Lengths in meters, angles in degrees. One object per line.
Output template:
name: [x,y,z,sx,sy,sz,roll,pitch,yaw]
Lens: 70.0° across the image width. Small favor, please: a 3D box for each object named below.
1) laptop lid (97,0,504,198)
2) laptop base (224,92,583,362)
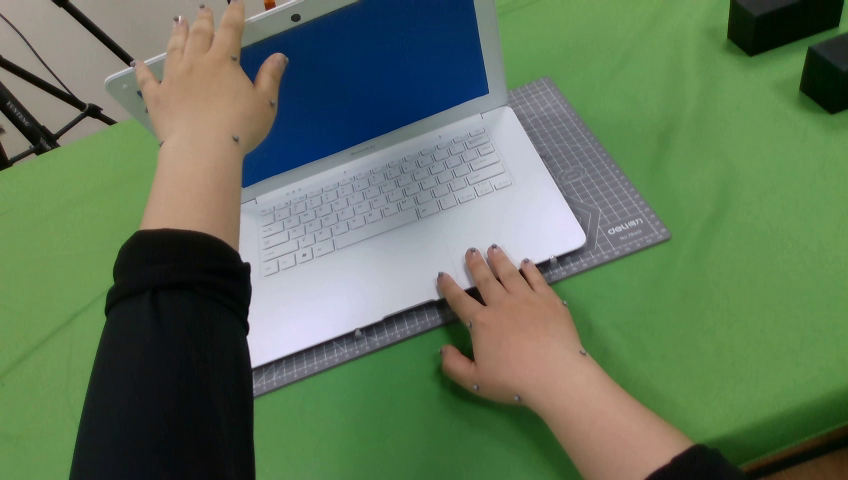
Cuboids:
laptop lid: [-0.095,-0.160,0.607,0.357,0.244,0.013,-22,63,4]
laptop base: [-0.042,-0.025,0.634,0.354,0.023,0.233,-21,50,3]
